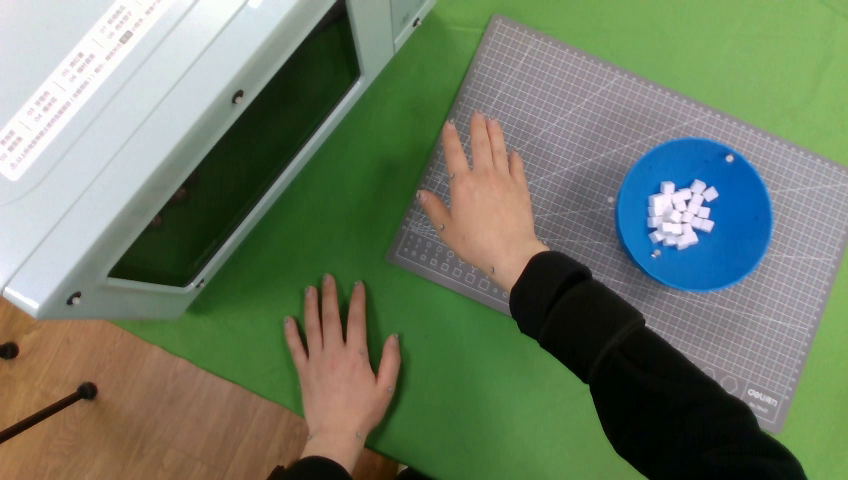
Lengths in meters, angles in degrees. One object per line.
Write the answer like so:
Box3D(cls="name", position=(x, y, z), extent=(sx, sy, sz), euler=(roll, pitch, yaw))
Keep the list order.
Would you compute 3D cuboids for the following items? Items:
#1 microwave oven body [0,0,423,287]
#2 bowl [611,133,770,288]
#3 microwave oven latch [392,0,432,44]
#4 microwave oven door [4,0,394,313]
Box3D(cls="microwave oven body", position=(-0.239, -0.210, 0.525), extent=(0.326, 0.260, 0.441), euler=(38, 85, 2))
Box3D(cls="bowl", position=(0.255, -0.024, 0.614), extent=(0.151, 0.077, 0.151), euler=(0, 84, -1))
Box3D(cls="microwave oven latch", position=(-0.015, -0.246, 0.633), extent=(0.030, 0.029, 0.079), euler=(39, 85, 2))
Box3D(cls="microwave oven door", position=(-0.150, -0.088, 0.510), extent=(0.039, 0.244, 0.355), euler=(38, 84, 3))
